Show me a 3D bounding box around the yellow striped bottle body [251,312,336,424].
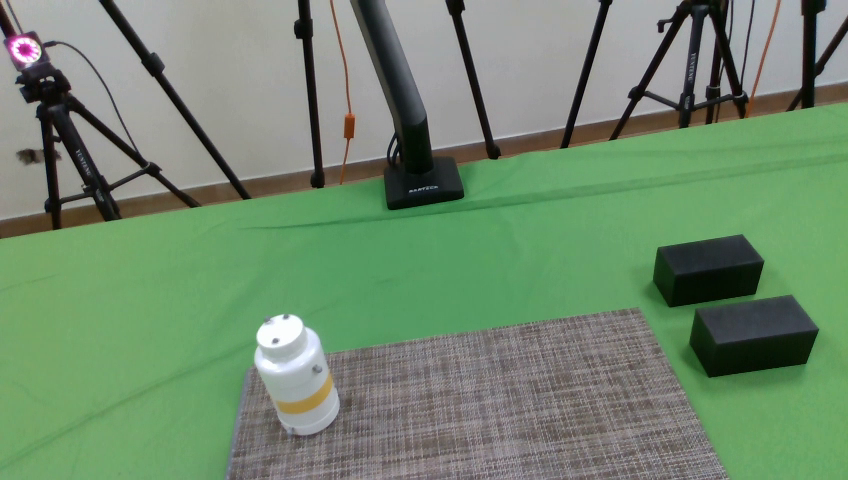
[{"bbox_3d":[-0.130,0.121,0.598,0.063,0.121,0.062,-5,39,5],"label":"yellow striped bottle body"}]

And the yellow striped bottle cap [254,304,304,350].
[{"bbox_3d":[-0.136,0.081,0.566,0.044,0.019,0.044,-7,38,6],"label":"yellow striped bottle cap"}]
